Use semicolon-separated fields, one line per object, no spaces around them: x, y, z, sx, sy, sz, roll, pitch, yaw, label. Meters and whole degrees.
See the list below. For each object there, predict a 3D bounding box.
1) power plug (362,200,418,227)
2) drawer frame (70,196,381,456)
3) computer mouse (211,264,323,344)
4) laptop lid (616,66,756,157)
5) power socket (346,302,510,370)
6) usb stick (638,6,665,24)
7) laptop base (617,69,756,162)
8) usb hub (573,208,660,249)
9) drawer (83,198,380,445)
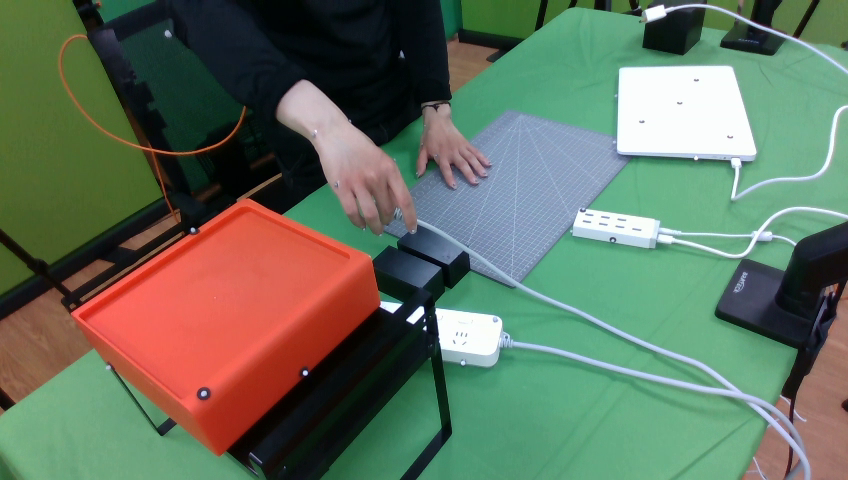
-0.051;-0.026;0.819;0.072;0.052;0.035;37;61;-1;power plug
-0.186;0.068;0.597;0.200;0.083;0.214;23;49;30;drawer frame
-0.164;0.062;0.625;0.116;0.041;0.063;22;44;27;computer mouse
0.503;-0.265;1.196;0.241;0.013;0.356;5;41;16;laptop lid
0.000;0.126;0.817;0.226;0.033;0.072;6;43;15;power socket
0.503;-0.499;1.347;0.059;0.027;0.021;-21;6;-1;usb stick
0.507;-0.255;1.204;0.235;0.023;0.353;3;41;15;laptop base
0.302;-0.019;0.949;0.124;0.025;0.049;11;43;20;usb hub
-0.185;0.066;0.600;0.193;0.073;0.212;24;50;31;drawer
